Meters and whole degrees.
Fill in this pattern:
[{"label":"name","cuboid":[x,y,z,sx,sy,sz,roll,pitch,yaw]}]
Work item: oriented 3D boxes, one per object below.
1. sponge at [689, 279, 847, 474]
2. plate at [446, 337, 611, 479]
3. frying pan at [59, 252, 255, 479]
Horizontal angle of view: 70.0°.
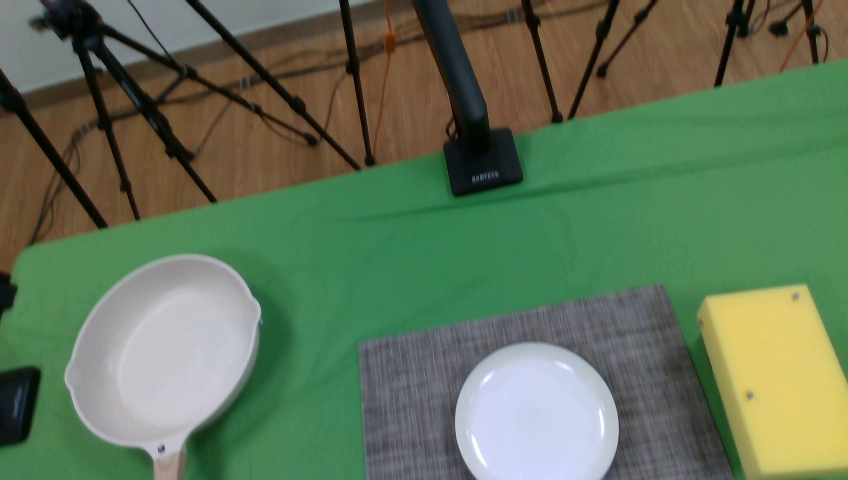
[{"label":"sponge","cuboid":[0.401,0.155,0.702,0.118,0.061,0.205,-9,60,6]},{"label":"plate","cuboid":[0.133,0.229,0.784,0.207,0.039,0.206,-5,60,9]},{"label":"frying pan","cuboid":[-0.362,0.236,0.848,0.307,0.104,0.482,-19,51,2]}]
